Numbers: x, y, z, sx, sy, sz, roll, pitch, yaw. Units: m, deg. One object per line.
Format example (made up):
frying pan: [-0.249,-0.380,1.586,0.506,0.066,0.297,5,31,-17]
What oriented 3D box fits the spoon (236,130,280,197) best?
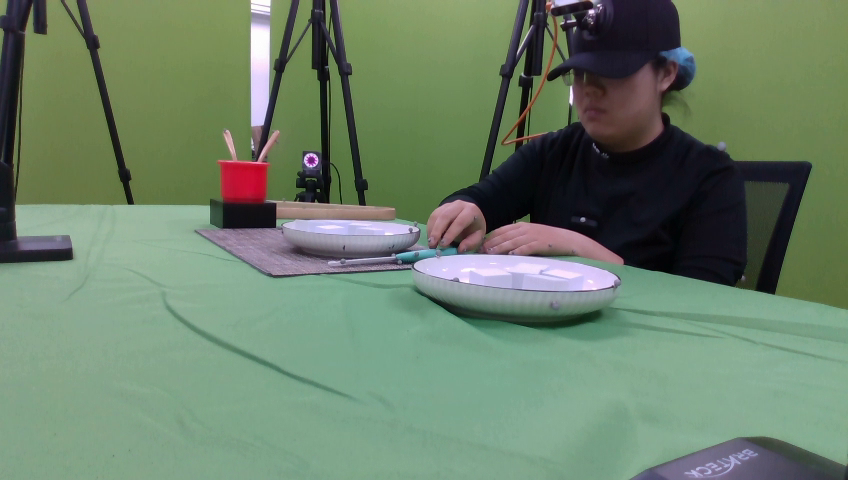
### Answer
spoon: [-0.321,-0.153,1.192,0.041,0.193,0.022,1,-37,19]

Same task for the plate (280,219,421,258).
plate: [-0.108,-0.002,0.902,0.208,0.039,0.207,3,7,0]

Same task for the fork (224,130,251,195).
fork: [-0.372,-0.155,1.193,0.028,0.018,0.206,-17,54,-13]

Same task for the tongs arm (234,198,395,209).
tongs arm: [-0.263,-0.076,1.460,0.386,0.026,0.050,3,8,-8]

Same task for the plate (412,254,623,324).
plate: [0.090,0.047,0.609,0.209,0.038,0.209,2,7,0]

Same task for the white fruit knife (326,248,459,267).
white fruit knife: [-0.034,0.026,0.807,0.208,0.016,0.027,-4,-18,-34]

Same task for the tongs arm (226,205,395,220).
tongs arm: [-0.247,-0.062,1.382,0.389,0.028,0.028,0,5,-21]
